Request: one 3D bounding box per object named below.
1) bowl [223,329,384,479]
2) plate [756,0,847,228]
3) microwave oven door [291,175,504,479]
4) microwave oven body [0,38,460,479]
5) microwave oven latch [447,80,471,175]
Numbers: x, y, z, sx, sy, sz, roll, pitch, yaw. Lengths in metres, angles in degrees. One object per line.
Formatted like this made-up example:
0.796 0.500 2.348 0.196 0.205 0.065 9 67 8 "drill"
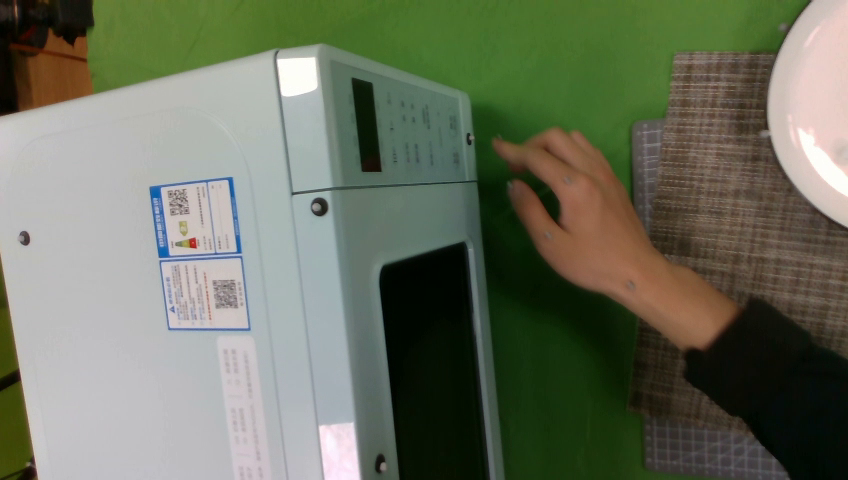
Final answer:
-0.094 0.145 0.541 0.150 0.077 0.151 3 98 22 "bowl"
0.338 -0.101 0.403 0.208 0.038 0.209 3 97 24 "plate"
0.000 0.132 0.458 0.039 0.244 0.356 -4 96 25 "microwave oven door"
-0.135 0.098 0.518 0.325 0.261 0.442 -3 96 24 "microwave oven body"
0.022 -0.097 0.527 0.030 0.029 0.079 -4 96 24 "microwave oven latch"
